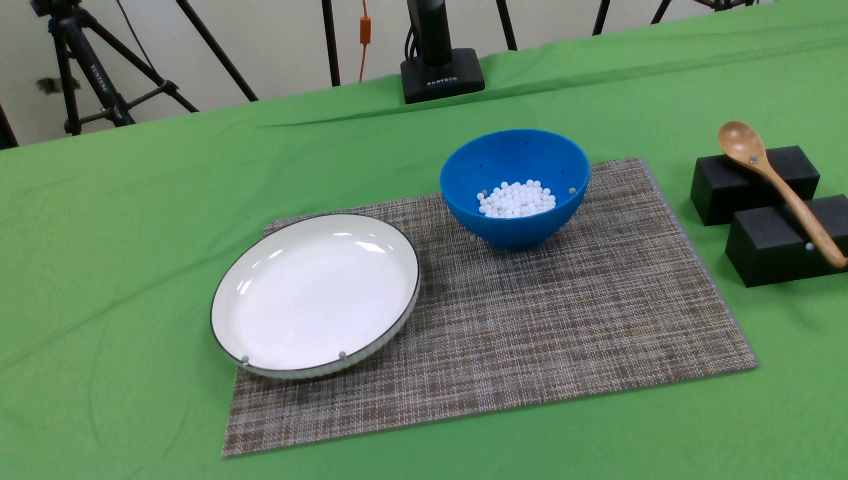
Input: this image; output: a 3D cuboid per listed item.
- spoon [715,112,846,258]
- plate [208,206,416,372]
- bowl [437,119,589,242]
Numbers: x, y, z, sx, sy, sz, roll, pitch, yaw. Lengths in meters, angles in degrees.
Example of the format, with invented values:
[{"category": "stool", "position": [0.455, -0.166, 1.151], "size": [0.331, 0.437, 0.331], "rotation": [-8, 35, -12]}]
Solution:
[{"category": "spoon", "position": [0.324, -0.056, 0.556], "size": [0.041, 0.022, 0.191], "rotation": [-12, 45, 2]}, {"category": "plate", "position": [-0.108, 0.048, 0.605], "size": [0.207, 0.039, 0.205], "rotation": [-6, 44, 7]}, {"category": "bowl", "position": [0.094, -0.051, 0.629], "size": [0.151, 0.077, 0.150], "rotation": [-6, 44, 7]}]
